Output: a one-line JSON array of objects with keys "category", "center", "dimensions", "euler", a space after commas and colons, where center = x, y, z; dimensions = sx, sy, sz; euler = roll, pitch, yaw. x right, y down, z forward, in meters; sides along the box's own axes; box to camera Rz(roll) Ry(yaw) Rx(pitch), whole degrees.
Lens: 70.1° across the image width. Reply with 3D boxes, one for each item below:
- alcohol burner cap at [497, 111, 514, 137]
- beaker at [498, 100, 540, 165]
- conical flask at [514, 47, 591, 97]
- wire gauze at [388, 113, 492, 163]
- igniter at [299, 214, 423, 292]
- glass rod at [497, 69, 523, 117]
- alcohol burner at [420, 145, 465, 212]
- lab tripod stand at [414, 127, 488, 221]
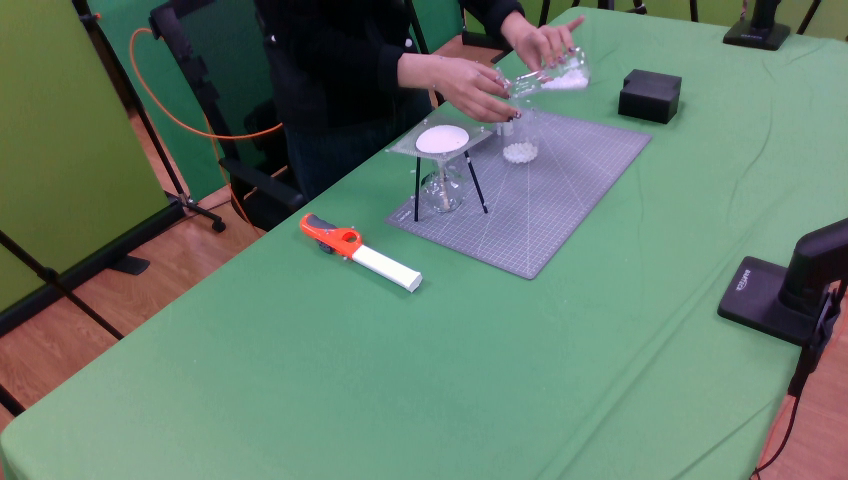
[{"category": "alcohol burner cap", "center": [0.163, -0.235, 1.211], "dimensions": [0.034, 0.048, 0.033], "euler": [-7, 40, 7]}, {"category": "beaker", "center": [0.180, -0.196, 1.117], "dimensions": [0.074, 0.101, 0.083], "euler": [-25, 43, -17]}, {"category": "conical flask", "center": [0.219, -0.280, 1.042], "dimensions": [0.122, 0.076, 0.075], "euler": [-16, 41, 0]}, {"category": "wire gauze", "center": [0.026, -0.164, 0.977], "dimensions": [0.120, 0.011, 0.125], "euler": [24, 49, 35]}, {"category": "igniter", "center": [-0.113, 0.016, 0.983], "dimensions": [0.274, 0.025, 0.057], "euler": [26, 62, 35]}, {"category": "glass rod", "center": [0.149, -0.248, 1.034], "dimensions": [0.008, 0.201, 0.008], "euler": [-3, 79, 19]}, {"category": "alcohol burner", "center": [0.030, -0.108, 1.030], "dimensions": [0.078, 0.119, 0.077], "euler": [-5, 38, 4]}, {"category": "lab tripod stand", "center": [0.035, -0.114, 1.021], "dimensions": [0.148, 0.132, 0.147], "euler": [-7, 39, 6]}]
